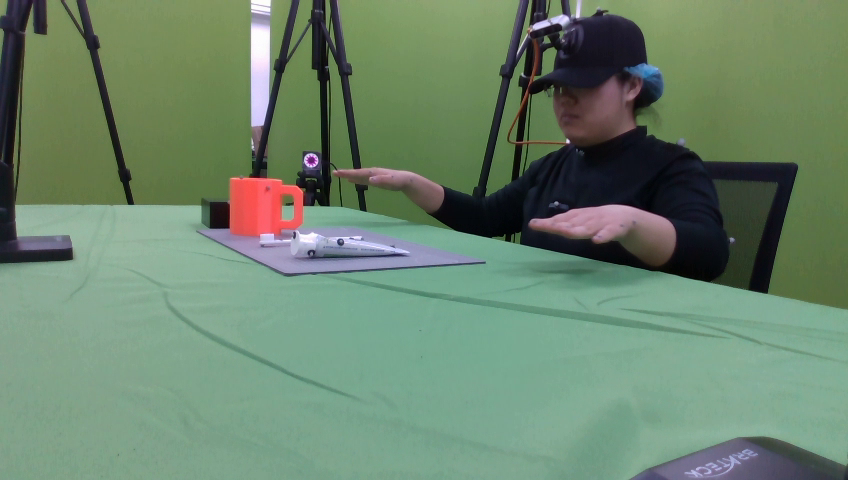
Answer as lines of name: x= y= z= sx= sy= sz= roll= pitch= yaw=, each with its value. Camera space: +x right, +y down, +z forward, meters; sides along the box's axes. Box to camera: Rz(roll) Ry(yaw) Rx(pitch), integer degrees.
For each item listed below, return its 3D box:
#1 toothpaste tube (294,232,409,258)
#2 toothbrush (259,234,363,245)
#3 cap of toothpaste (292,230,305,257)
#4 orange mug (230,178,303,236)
toothpaste tube: x=-0.103 y=0.010 z=0.853 sx=0.166 sy=0.034 sz=0.055 roll=3 pitch=11 yaw=-34
toothbrush: x=-0.175 y=-0.002 z=0.958 sx=0.183 sy=0.016 sz=0.014 roll=-1 pitch=-5 yaw=-39
cap of toothpaste: x=-0.169 y=0.005 z=0.812 sx=0.011 sy=0.037 sz=0.037 roll=6 pitch=4 yaw=-30
orange mug: x=-0.275 y=-0.060 z=1.058 sx=0.126 sy=0.101 sz=0.083 roll=-2 pitch=8 yaw=-5
